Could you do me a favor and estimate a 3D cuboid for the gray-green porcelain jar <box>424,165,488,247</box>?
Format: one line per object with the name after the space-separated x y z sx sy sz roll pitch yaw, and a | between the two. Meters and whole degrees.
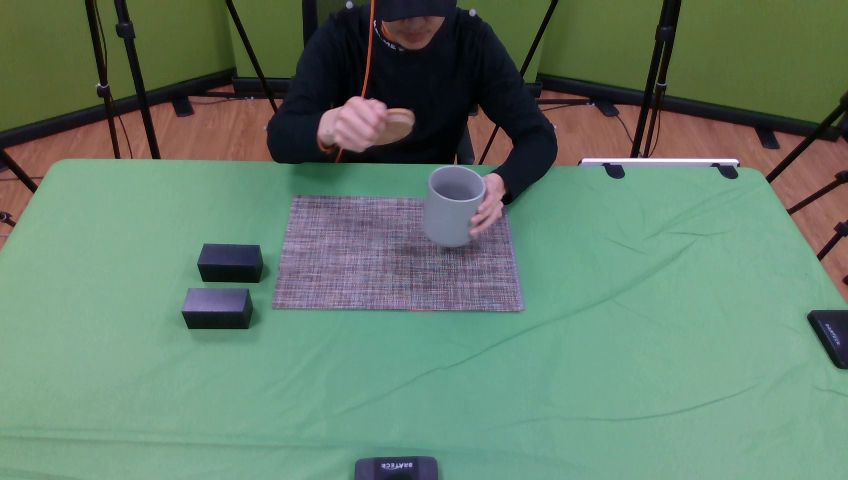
0.055 -0.058 1.120 0.106 0.127 0.105 5 44 -4 | gray-green porcelain jar

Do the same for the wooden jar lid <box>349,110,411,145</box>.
-0.073 -0.188 1.030 0.108 0.108 0.020 -10 77 -14 | wooden jar lid
